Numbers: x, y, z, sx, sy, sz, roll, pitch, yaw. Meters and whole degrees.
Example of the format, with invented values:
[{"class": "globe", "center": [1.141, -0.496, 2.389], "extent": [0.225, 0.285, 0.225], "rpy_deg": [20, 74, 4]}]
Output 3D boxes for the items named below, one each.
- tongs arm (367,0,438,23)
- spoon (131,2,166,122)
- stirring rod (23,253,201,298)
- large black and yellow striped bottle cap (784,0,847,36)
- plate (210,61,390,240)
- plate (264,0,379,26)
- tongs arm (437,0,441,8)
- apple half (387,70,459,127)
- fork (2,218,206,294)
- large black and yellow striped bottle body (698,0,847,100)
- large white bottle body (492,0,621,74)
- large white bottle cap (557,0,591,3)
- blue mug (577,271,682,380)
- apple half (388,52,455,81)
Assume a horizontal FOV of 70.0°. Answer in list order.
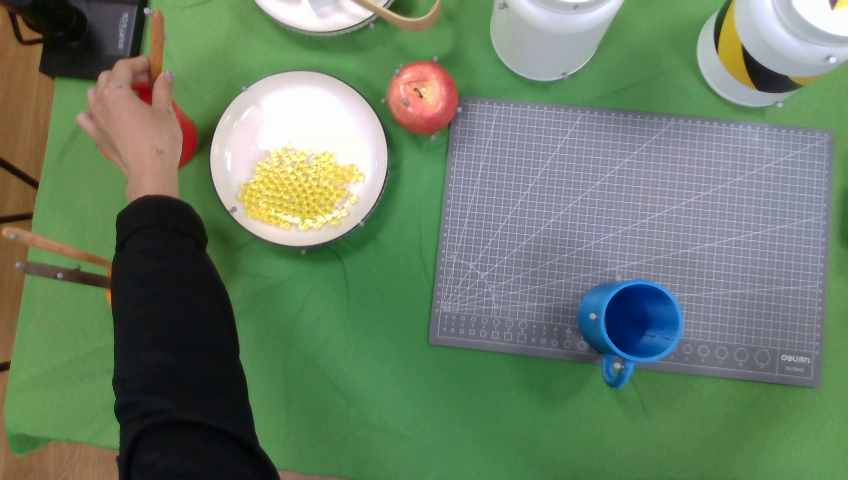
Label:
[{"class": "tongs arm", "center": [-0.155, -0.353, 0.694], "extent": [0.384, 0.026, 0.050], "rpy_deg": [35, 84, 6]}, {"class": "spoon", "center": [-0.306, -0.192, 0.676], "extent": [0.042, 0.194, 0.021], "rpy_deg": [27, 60, -13]}, {"class": "stirring rod", "center": [-0.329, 0.040, 0.652], "extent": [0.178, 0.006, 0.014], "rpy_deg": [18, 72, -37]}, {"class": "large black and yellow striped bottle cap", "center": [0.382, -0.244, 0.547], "extent": [0.115, 0.019, 0.115], "rpy_deg": [0, 88, 1]}, {"class": "plate", "center": [-0.142, -0.102, 0.710], "extent": [0.209, 0.038, 0.208], "rpy_deg": [0, 87, 2]}, {"class": "plate", "center": [-0.115, -0.354, 0.725], "extent": [0.207, 0.039, 0.207], "rpy_deg": [0, 87, 2]}, {"class": "tongs arm", "center": [-0.101, -0.416, 0.698], "extent": [0.028, 0.028, 0.386], "rpy_deg": [-40, 84, -8]}, {"class": "apple half", "center": [0.001, -0.157, 0.692], "extent": [0.081, 0.074, 0.053], "rpy_deg": [-8, 90, -2]}, {"class": "fork", "center": [-0.335, 0.018, 0.651], "extent": [0.209, 0.018, 0.028], "rpy_deg": [27, 87, -40]}, {"class": "large black and yellow striped bottle body", "center": [0.385, -0.235, 0.631], "extent": [0.131, 0.184, 0.130], "rpy_deg": [0, 85, 2]}, {"class": "large white bottle body", "center": [0.143, -0.268, 0.639], "extent": [0.130, 0.185, 0.130], "rpy_deg": [0, 85, 2]}, {"class": "large white bottle cap", "center": [0.138, -0.276, 0.555], "extent": [0.115, 0.018, 0.114], "rpy_deg": [0, 86, 2]}, {"class": "blue mug", "center": [0.213, 0.093, 0.652], "extent": [0.082, 0.106, 0.116], "rpy_deg": [14, 87, 3]}, {"class": "apple half", "center": [-0.005, -0.196, 0.694], "extent": [0.081, 0.081, 0.033], "rpy_deg": [-8, 91, 1]}]
